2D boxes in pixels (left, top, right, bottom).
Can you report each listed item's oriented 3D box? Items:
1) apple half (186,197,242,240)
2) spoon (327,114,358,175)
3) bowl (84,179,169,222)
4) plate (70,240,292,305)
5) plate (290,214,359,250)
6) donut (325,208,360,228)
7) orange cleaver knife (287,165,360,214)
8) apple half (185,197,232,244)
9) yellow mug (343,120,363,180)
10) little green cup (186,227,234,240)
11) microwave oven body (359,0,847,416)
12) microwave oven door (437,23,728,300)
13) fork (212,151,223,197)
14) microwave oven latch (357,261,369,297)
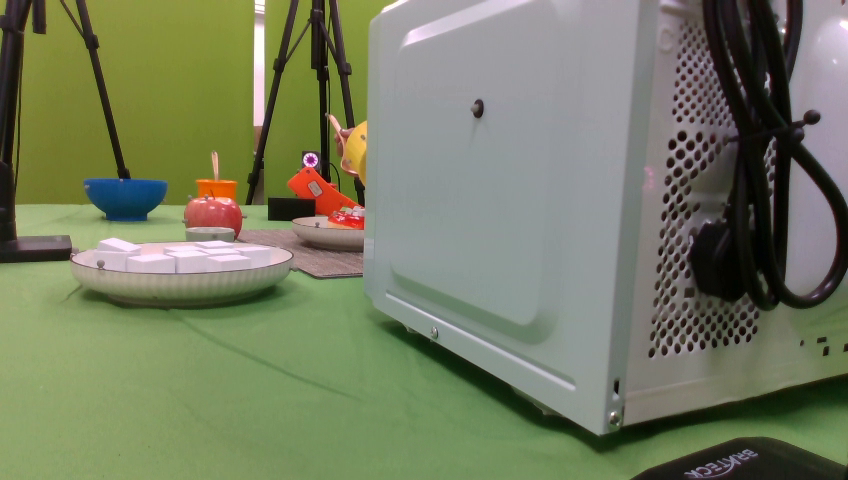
[{"bbox_3d":[-0.306,-0.026,0.904,0.053,0.074,0.081,14,9,37],"label":"apple half"},{"bbox_3d":[-0.146,-0.174,1.082,0.042,0.021,0.193,6,42,-30],"label":"spoon"},{"bbox_3d":[-0.584,-0.078,1.194,0.151,0.077,0.151,3,8,0],"label":"bowl"},{"bbox_3d":[-0.242,0.031,0.618,0.208,0.039,0.207,2,8,0],"label":"plate"},{"bbox_3d":[-0.110,-0.014,0.974,0.209,0.038,0.209,3,8,0],"label":"plate"},{"bbox_3d":[-0.110,-0.025,0.973,0.099,0.048,0.099,4,7,0],"label":"donut"},{"bbox_3d":[-0.210,-0.093,1.382,0.212,0.077,0.012,33,1,-15],"label":"orange cleaver knife"},{"bbox_3d":[-0.337,-0.031,0.928,0.032,0.081,0.082,13,12,37],"label":"apple half"},{"bbox_3d":[-0.063,-0.146,0.925,0.100,0.131,0.063,-3,35,-29],"label":"yellow mug"},{"bbox_3d":[-0.285,0.005,0.805,0.061,0.038,0.061,3,8,0],"label":"little green cup"},{"bbox_3d":[0.211,-0.047,0.474,0.444,0.260,0.324,-1,7,-28],"label":"microwave oven body"},{"bbox_3d":[0.181,-0.072,0.621,0.358,0.243,0.039,-2,8,-29],"label":"microwave oven door"},{"bbox_3d":[-0.494,-0.143,1.442,0.028,0.018,0.206,-2,52,-20],"label":"fork"},{"bbox_3d":[-0.019,0.033,0.530,0.079,0.029,0.030,-1,7,-26],"label":"microwave oven latch"}]
